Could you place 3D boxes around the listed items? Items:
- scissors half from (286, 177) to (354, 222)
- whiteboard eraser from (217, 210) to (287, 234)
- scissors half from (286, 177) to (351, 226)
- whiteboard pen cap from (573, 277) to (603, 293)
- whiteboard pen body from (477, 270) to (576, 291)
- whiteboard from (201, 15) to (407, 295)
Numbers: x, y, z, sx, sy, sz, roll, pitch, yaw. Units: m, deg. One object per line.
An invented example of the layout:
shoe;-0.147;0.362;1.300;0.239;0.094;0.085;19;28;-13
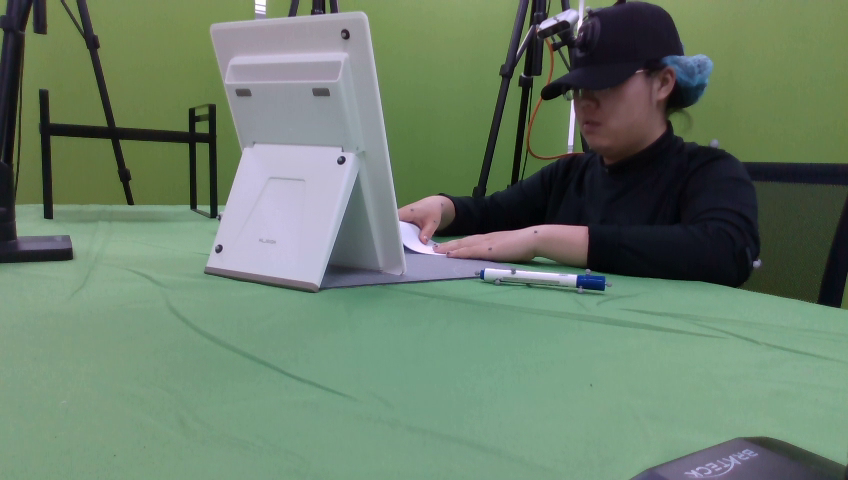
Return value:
scissors half;-0.230;-0.090;1.337;0.175;0.013;0.040;33;13;-13
whiteboard eraser;-0.310;-0.034;1.094;0.113;0.042;0.055;-2;11;-38
scissors half;-0.232;-0.085;1.317;0.175;0.013;0.040;37;18;4
whiteboard pen cap;0.186;0.051;0.687;0.033;0.018;0.018;4;7;18
whiteboard pen body;0.131;0.048;0.706;0.140;0.017;0.017;4;8;18
whiteboard;-0.167;-0.073;0.668;0.216;0.305;0.144;7;30;28
